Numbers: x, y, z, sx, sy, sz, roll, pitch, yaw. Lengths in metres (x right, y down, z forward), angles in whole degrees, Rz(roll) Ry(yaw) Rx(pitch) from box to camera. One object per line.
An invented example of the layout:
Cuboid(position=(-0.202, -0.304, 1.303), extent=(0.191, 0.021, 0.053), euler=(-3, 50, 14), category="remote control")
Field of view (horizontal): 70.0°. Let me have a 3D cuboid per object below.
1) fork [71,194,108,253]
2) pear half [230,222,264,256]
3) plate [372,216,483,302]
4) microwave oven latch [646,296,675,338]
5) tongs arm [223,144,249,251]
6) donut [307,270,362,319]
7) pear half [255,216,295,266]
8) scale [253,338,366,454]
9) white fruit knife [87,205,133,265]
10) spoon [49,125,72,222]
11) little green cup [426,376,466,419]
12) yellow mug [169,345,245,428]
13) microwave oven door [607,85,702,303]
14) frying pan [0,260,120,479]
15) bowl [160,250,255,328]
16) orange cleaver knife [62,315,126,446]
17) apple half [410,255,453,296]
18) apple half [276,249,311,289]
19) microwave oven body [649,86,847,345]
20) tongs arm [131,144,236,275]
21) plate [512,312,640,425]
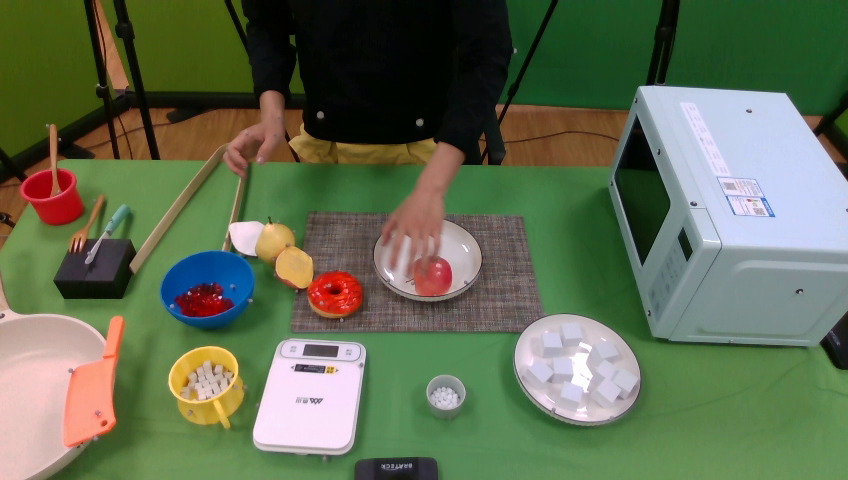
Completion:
Cuboid(position=(-0.634, -0.036, 1.158), extent=(0.028, 0.019, 0.206), euler=(-8, 32, -8), category="fork")
Cuboid(position=(-0.333, 0.000, 1.167), extent=(0.088, 0.031, 0.070), euler=(31, 52, 4), category="pear half")
Cuboid(position=(0.006, 0.038, 1.145), extent=(0.209, 0.038, 0.208), euler=(2, 46, -2), category="plate")
Cuboid(position=(0.412, 0.134, 1.061), extent=(0.030, 0.029, 0.078), euler=(4, 45, 1), category="microwave oven latch")
Cuboid(position=(-0.397, -0.073, 1.232), extent=(0.051, 0.027, 0.382), euler=(-3, 45, 0), category="tongs arm")
Cuboid(position=(-0.158, 0.097, 1.073), extent=(0.099, 0.048, 0.098), euler=(4, 45, -4), category="donut")
Cuboid(position=(-0.269, 0.001, 1.117), extent=(0.056, 0.110, 0.076), euler=(25, 54, 19), category="pear half")
Cuboid(position=(-0.175, 0.236, 0.951), extent=(0.149, 0.032, 0.199), euler=(4, 45, -1), category="scale")
Cuboid(position=(-0.584, -0.013, 1.129), extent=(0.016, 0.027, 0.206), euler=(-1, 32, -4), category="white fruit knife")
Cuboid(position=(-0.718, -0.131, 1.189), extent=(0.041, 0.021, 0.193), euler=(-4, 90, -6), category="spoon")
Cuboid(position=(0.033, 0.248, 0.950), extent=(0.061, 0.039, 0.061), euler=(2, 46, -2), category="little green cup")
Cuboid(position=(-0.322, 0.230, 0.922), extent=(0.100, 0.064, 0.130), euler=(-24, 53, -25), category="yellow mug")
Cuboid(position=(0.423, -0.094, 1.140), extent=(0.039, 0.245, 0.353), euler=(2, 46, -1), category="microwave oven door")
Cuboid(position=(-0.647, 0.164, 0.936), extent=(0.307, 0.103, 0.485), euler=(-19, 58, -22), category="frying pan")
Cuboid(position=(-0.362, 0.098, 1.040), extent=(0.151, 0.077, 0.150), euler=(2, 45, -2), category="bowl")
Cuboid(position=(-0.480, 0.199, 0.887), extent=(0.077, 0.012, 0.210), euler=(-9, 47, -8), category="orange cleaver knife")
Cuboid(position=(0.015, 0.058, 1.103), extent=(0.075, 0.053, 0.080), euler=(-2, 43, -9), category="apple half")
Cuboid(position=(-0.244, 0.057, 1.113), extent=(0.033, 0.082, 0.081), euler=(-34, 34, 27), category="apple half")
Cuboid(position=(0.567, -0.053, 1.118), extent=(0.326, 0.261, 0.439), euler=(2, 45, -1), category="microwave oven body")
Cuboid(position=(-0.483, -0.076, 1.236), extent=(0.028, 0.028, 0.385), euler=(5, 45, 13), category="tongs arm")
Cuboid(position=(0.246, 0.213, 0.999), extent=(0.208, 0.039, 0.206), euler=(2, 46, -2), category="plate")
